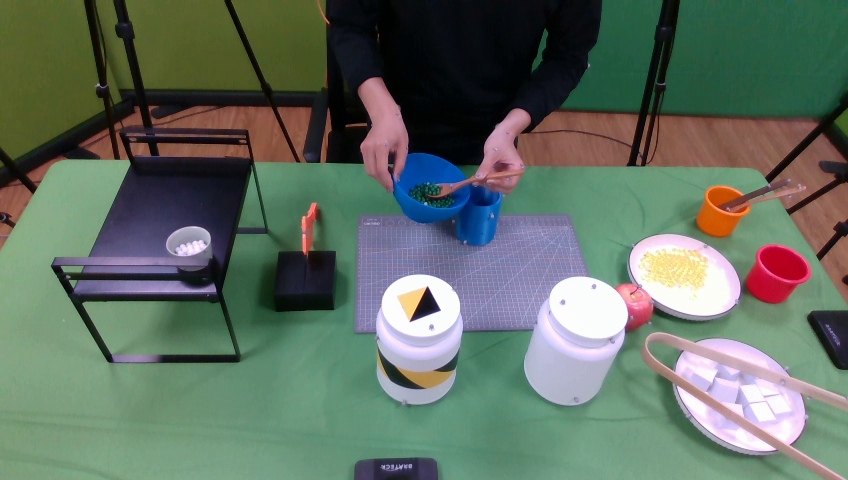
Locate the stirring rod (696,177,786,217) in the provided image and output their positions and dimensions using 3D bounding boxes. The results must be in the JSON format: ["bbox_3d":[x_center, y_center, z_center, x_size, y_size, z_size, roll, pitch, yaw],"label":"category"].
[{"bbox_3d":[0.648,-0.087,1.244,0.176,0.006,0.014,-25,50,29],"label":"stirring rod"}]

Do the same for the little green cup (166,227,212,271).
[{"bbox_3d":[-0.344,0.014,0.895,0.061,0.039,0.061,3,46,-3],"label":"little green cup"}]

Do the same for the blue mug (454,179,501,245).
[{"bbox_3d":[0.106,-0.067,1.208,0.082,0.106,0.116,6,46,1],"label":"blue mug"}]

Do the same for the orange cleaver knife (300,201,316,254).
[{"bbox_3d":[-0.221,-0.027,1.161,0.012,0.077,0.210,-1,15,-4],"label":"orange cleaver knife"}]

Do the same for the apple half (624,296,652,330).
[{"bbox_3d":[0.368,0.135,1.060,0.081,0.081,0.032,-11,43,-15],"label":"apple half"}]

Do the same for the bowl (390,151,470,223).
[{"bbox_3d":[0.001,-0.085,1.112,0.152,0.077,0.150,13,45,-13],"label":"bowl"}]

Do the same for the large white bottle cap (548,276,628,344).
[{"bbox_3d":[0.240,0.100,0.890,0.115,0.018,0.114,3,47,-3],"label":"large white bottle cap"}]

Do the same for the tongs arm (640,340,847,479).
[{"bbox_3d":[0.500,0.277,0.919,0.386,0.028,0.028,34,59,22],"label":"tongs arm"}]

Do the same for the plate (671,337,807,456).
[{"bbox_3d":[0.504,0.254,0.984,0.208,0.039,0.206,2,46,-2],"label":"plate"}]

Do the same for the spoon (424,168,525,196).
[{"bbox_3d":[0.087,-0.106,1.083,0.193,0.022,0.041,-12,34,30],"label":"spoon"}]

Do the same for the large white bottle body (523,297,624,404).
[{"bbox_3d":[0.235,0.159,0.952,0.131,0.185,0.130,2,47,-2],"label":"large white bottle body"}]

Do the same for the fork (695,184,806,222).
[{"bbox_3d":[0.658,-0.074,1.230,0.207,0.019,0.028,-24,33,36],"label":"fork"}]

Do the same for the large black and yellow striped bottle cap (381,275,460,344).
[{"bbox_3d":[-0.005,0.098,0.875,0.115,0.019,0.114,2,45,-2],"label":"large black and yellow striped bottle cap"}]

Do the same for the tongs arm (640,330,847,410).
[{"bbox_3d":[0.543,0.225,0.969,0.384,0.026,0.050,22,52,13],"label":"tongs arm"}]

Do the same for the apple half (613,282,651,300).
[{"bbox_3d":[0.356,0.109,1.086,0.081,0.075,0.053,-14,45,-12],"label":"apple half"}]

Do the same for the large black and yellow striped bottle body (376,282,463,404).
[{"bbox_3d":[-0.010,0.155,0.937,0.131,0.185,0.130,2,47,-2],"label":"large black and yellow striped bottle body"}]

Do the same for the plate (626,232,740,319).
[{"bbox_3d":[0.488,0.071,1.157,0.209,0.038,0.208,3,46,-3],"label":"plate"}]
